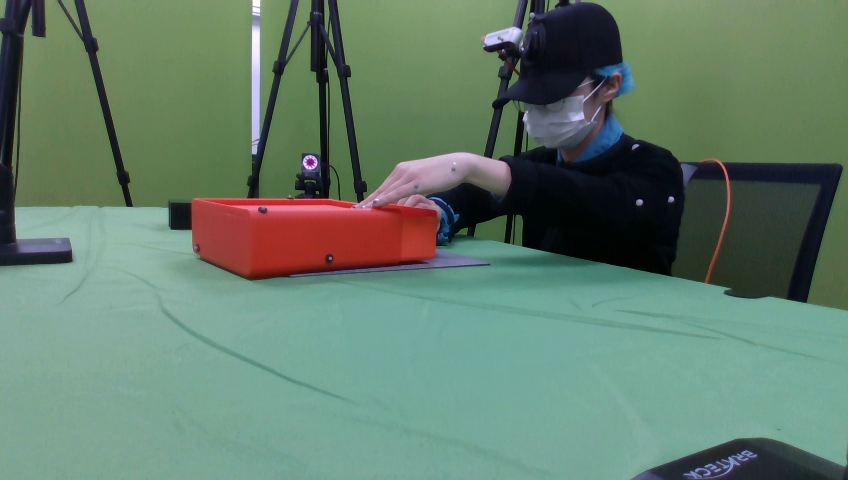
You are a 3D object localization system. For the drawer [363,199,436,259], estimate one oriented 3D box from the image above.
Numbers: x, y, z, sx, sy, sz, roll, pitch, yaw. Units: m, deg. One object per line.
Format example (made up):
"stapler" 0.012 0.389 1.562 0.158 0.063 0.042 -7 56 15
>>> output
"drawer" -0.123 -0.016 0.851 0.213 0.073 0.193 -5 10 -37

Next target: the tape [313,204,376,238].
"tape" -0.145 -0.036 1.117 0.117 0.052 0.117 3 8 0

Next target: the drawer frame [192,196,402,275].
"drawer frame" -0.172 -0.014 0.813 0.215 0.082 0.200 -5 10 -39
